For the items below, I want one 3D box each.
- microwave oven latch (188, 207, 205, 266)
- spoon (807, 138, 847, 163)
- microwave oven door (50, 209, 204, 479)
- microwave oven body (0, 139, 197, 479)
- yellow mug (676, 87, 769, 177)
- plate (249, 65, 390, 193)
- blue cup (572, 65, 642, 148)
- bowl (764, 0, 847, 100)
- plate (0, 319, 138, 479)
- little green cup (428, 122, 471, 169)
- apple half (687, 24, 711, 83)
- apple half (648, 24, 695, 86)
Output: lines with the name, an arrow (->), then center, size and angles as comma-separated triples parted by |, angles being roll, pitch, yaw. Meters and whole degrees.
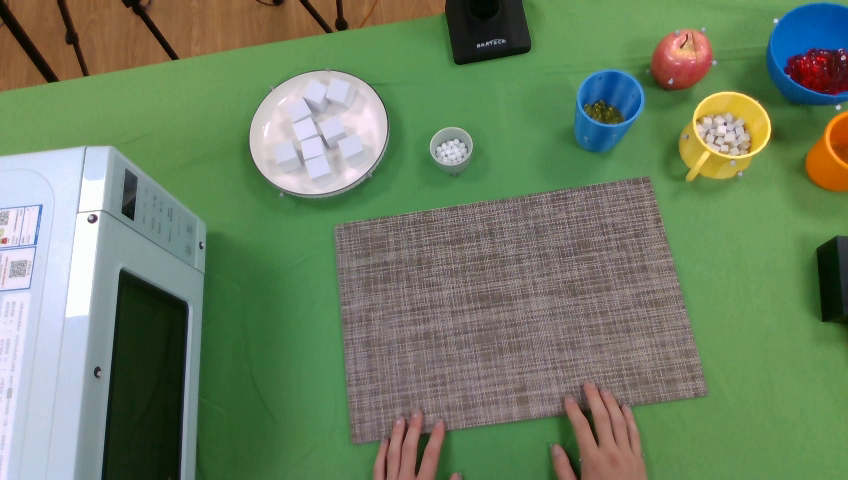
microwave oven latch -> -0.324, -0.004, 0.843 | 0.030, 0.030, 0.078 | -4, 72, 4
spoon -> 0.576, -0.105, 0.749 | 0.041, 0.192, 0.022 | -49, 118, -10
microwave oven door -> -0.320, 0.171, 0.678 | 0.039, 0.245, 0.353 | -6, 71, 4
microwave oven body -> -0.467, 0.147, 0.706 | 0.326, 0.262, 0.438 | -6, 72, 3
yellow mug -> 0.393, -0.137, 0.821 | 0.099, 0.064, 0.130 | 38, 81, 16
plate -> -0.151, -0.161, 0.897 | 0.207, 0.039, 0.206 | -2, 72, 5
blue cup -> 0.243, -0.174, 0.830 | 0.092, 0.101, 0.092 | -1, 73, 4
bowl -> 0.539, -0.249, 0.837 | 0.151, 0.077, 0.150 | -2, 72, 6
plate -> -0.448, 0.201, 0.741 | 0.209, 0.038, 0.208 | -1, 72, 4
little green cup -> 0.038, -0.133, 0.869 | 0.061, 0.039, 0.061 | -2, 71, 6
apple half -> 0.386, -0.263, 0.858 | 0.033, 0.082, 0.081 | -4, 71, 8
apple half -> 0.348, -0.260, 0.862 | 0.053, 0.075, 0.080 | -4, 75, 8
